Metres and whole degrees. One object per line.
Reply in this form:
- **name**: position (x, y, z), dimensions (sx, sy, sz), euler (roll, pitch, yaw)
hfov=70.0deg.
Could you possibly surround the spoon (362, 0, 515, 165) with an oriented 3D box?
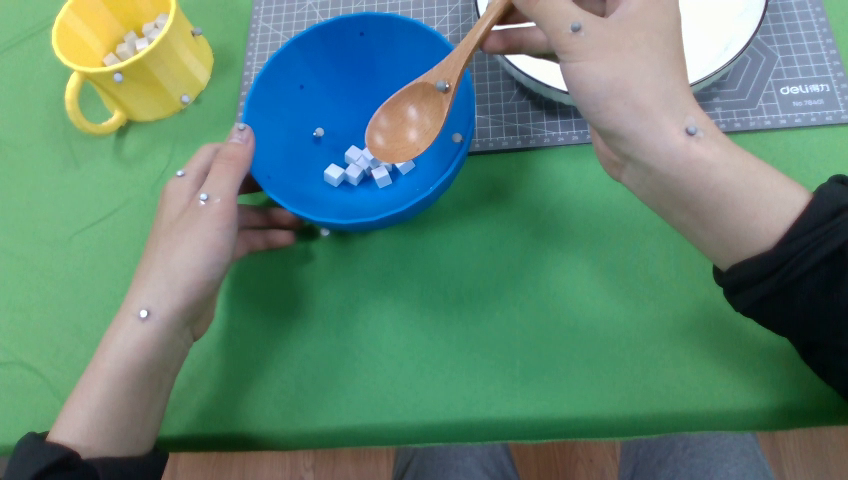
- **spoon**: position (0.034, -0.116, 0.331), dimensions (0.194, 0.022, 0.041), euler (-47, 71, 19)

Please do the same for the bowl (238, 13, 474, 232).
- **bowl**: position (-0.038, -0.067, 0.412), dimensions (0.151, 0.077, 0.150), euler (-3, 71, 8)

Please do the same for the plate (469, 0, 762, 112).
- **plate**: position (0.138, -0.180, 0.455), dimensions (0.209, 0.038, 0.207), euler (-3, 67, 7)

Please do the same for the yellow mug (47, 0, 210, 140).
- **yellow mug**: position (-0.239, -0.138, 0.480), dimensions (0.099, 0.064, 0.130), euler (19, 72, 15)
